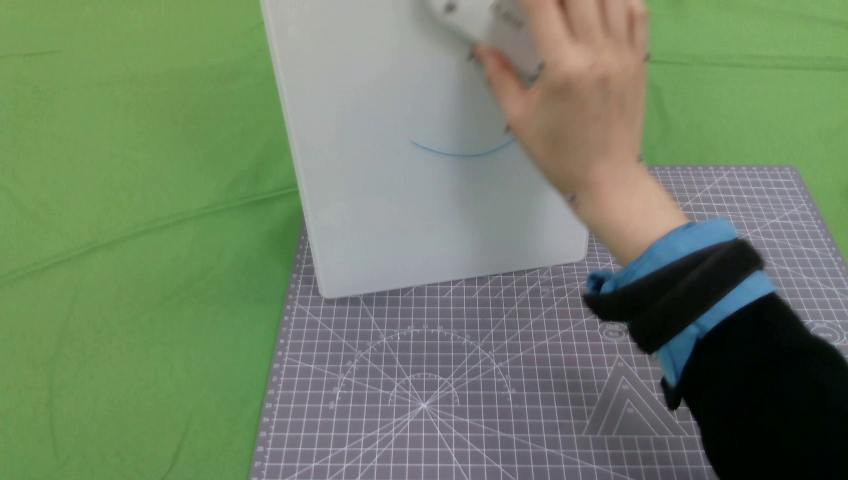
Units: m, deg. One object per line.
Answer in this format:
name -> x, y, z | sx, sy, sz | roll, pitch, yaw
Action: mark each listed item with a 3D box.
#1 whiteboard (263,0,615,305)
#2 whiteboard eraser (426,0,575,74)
whiteboard -> 0.008, -0.130, 0.455 | 0.217, 0.308, 0.142 | -8, 32, -5
whiteboard eraser -> 0.047, -0.137, 0.369 | 0.102, 0.041, 0.018 | 23, 25, -21
